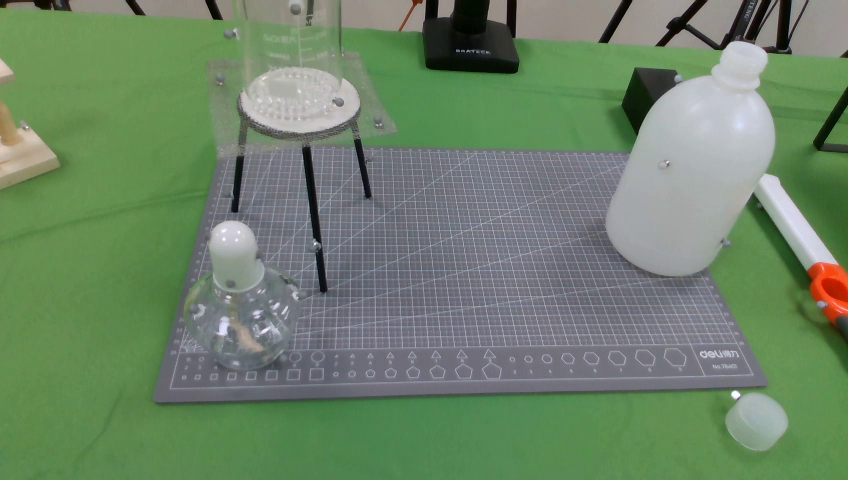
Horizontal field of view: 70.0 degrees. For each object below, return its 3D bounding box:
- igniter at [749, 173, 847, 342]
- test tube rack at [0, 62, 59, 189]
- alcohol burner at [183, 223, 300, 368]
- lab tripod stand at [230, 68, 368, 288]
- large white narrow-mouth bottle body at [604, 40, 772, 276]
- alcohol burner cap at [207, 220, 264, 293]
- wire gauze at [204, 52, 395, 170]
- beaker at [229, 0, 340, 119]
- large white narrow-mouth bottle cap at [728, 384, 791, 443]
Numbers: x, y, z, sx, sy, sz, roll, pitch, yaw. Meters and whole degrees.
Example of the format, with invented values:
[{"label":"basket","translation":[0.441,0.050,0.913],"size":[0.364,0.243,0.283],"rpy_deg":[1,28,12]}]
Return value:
[{"label":"igniter","translation":[0.357,0.032,0.539],"size":[0.057,0.025,0.273],"rpy_deg":[9,43,-13]},{"label":"test tube rack","translation":[-0.448,-0.062,0.490],"size":[0.066,0.086,0.242],"rpy_deg":[37,52,27]},{"label":"alcohol burner","translation":[-0.125,0.033,0.411],"size":[0.078,0.120,0.077],"rpy_deg":[5,43,-4]},{"label":"lab tripod stand","translation":[-0.096,-0.056,0.490],"size":[0.148,0.132,0.147],"rpy_deg":[5,45,-5]},{"label":"large white narrow-mouth bottle body","translation":[0.221,-0.067,0.498],"size":[0.102,0.196,0.101],"rpy_deg":[3,44,-3]},{"label":"alcohol burner cap","translation":[-0.121,0.009,0.385],"size":[0.034,0.048,0.033],"rpy_deg":[3,50,-4]},{"label":"wire gauze","translation":[-0.095,-0.104,0.446],"size":[0.122,0.011,0.123],"rpy_deg":[-11,51,-15]},{"label":"beaker","translation":[-0.095,-0.141,0.413],"size":[0.084,0.101,0.073],"rpy_deg":[-4,47,-12]},{"label":"large white narrow-mouth bottle cap","translation":[0.241,0.125,0.435],"size":[0.038,0.024,0.037],"rpy_deg":[3,44,-3]}]
